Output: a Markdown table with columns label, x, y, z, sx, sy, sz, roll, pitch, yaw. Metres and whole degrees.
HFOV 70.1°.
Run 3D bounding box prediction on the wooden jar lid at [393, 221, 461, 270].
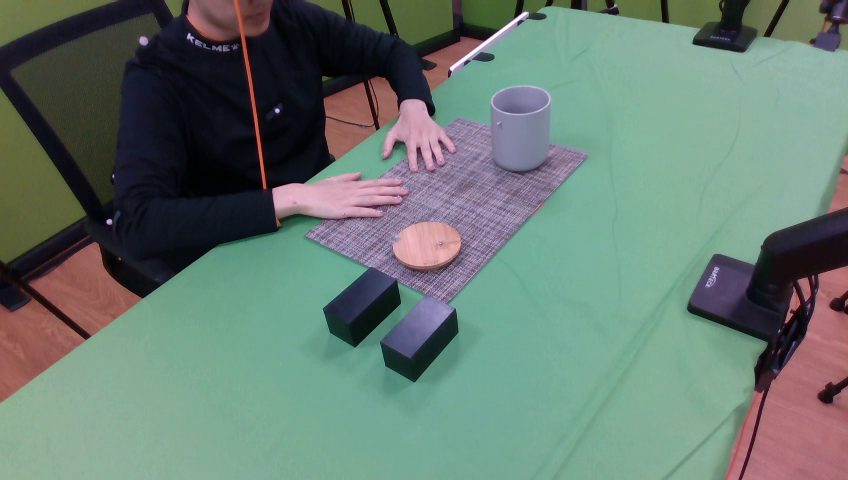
| label | x | y | z | sx | sy | sz | roll | pitch | yaw |
| --- | --- | --- | --- | --- | --- | --- | --- | --- | --- |
| wooden jar lid | 0.005 | 0.010 | 0.952 | 0.108 | 0.021 | 0.108 | -5 | 40 | 4 |

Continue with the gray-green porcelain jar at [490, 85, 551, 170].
| label | x | y | z | sx | sy | sz | roll | pitch | yaw |
| --- | --- | --- | --- | --- | --- | --- | --- | --- | --- |
| gray-green porcelain jar | 0.173 | -0.197 | 1.087 | 0.106 | 0.127 | 0.105 | -4 | 41 | 4 |
